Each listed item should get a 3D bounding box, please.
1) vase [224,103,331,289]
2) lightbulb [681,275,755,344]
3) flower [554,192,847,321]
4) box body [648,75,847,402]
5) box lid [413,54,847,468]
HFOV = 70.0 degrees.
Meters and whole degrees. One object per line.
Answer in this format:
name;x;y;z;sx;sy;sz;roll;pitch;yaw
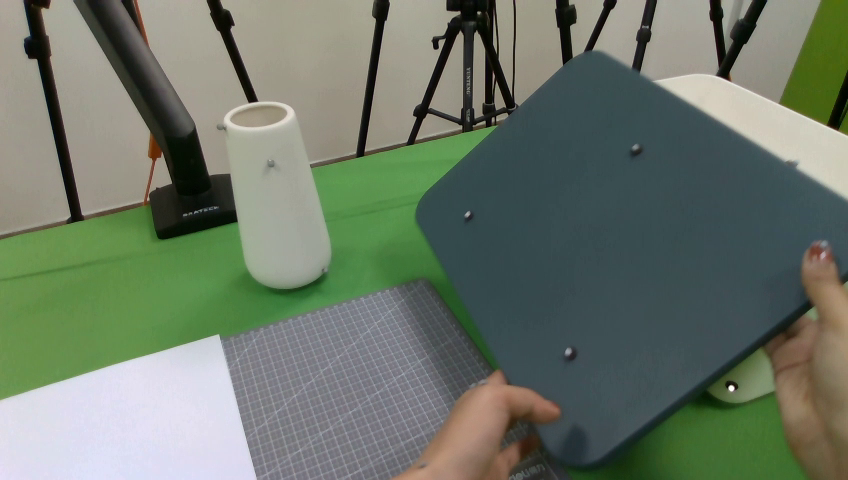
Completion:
vase;-0.161;-0.043;0.660;0.098;0.202;0.097;-2;35;2
lightbulb;0.288;0.063;0.609;0.059;0.060;0.107;-1;19;1
flower;0.317;0.022;0.696;0.359;0.038;0.044;26;37;27
box body;0.309;-0.027;0.648;0.255;0.162;0.360;-15;38;-16
box lid;0.138;-0.017;0.528;0.263;0.015;0.367;-42;39;9
